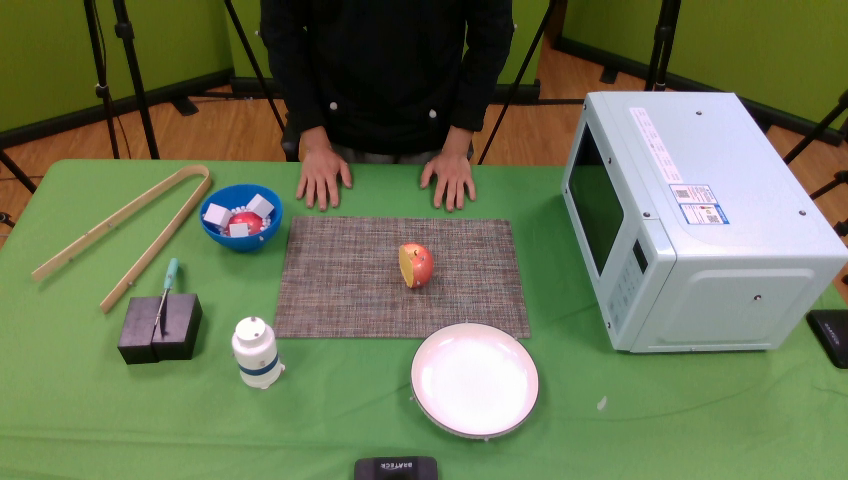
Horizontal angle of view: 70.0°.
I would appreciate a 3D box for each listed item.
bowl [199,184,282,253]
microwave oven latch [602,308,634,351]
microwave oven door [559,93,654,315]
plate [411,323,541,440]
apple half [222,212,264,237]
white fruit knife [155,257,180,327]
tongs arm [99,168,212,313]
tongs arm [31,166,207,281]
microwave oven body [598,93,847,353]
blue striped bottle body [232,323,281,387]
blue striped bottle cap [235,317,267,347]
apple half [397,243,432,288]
[{"bbox_3d":[-0.346,-0.030,1.164,0.151,0.077,0.150,3,46,-3],"label":"bowl"},{"bbox_3d":[0.332,0.153,1.044,0.030,0.029,0.078,-1,45,-4],"label":"microwave oven latch"},{"bbox_3d":[0.327,-0.074,1.123,0.039,0.245,0.353,-1,46,-5],"label":"microwave oven door"},{"bbox_3d":[0.082,0.228,0.976,0.208,0.039,0.206,2,45,-2],"label":"plate"},{"bbox_3d":[-0.346,-0.033,1.161,0.081,0.033,0.081,4,47,-4],"label":"apple half"},{"bbox_3d":[-0.440,0.085,1.037,0.016,0.027,0.206,10,26,-19],"label":"white fruit knife"},{"bbox_3d":[-0.504,-0.012,1.167,0.028,0.028,0.385,11,46,10],"label":"tongs arm"},{"bbox_3d":[-0.578,-0.040,1.185,0.050,0.026,0.384,23,48,17],"label":"tongs arm"},{"bbox_3d":[0.475,-0.041,1.109,0.326,0.261,0.438,-1,45,-4],"label":"microwave oven body"},{"bbox_3d":[-0.262,0.172,0.944,0.063,0.121,0.062,2,46,-2],"label":"blue striped bottle body"},{"bbox_3d":[-0.259,0.137,0.907,0.044,0.021,0.044,3,43,-2],"label":"blue striped bottle cap"},{"bbox_3d":[-0.013,0.047,1.115,0.053,0.075,0.080,-10,43,-21],"label":"apple half"}]
